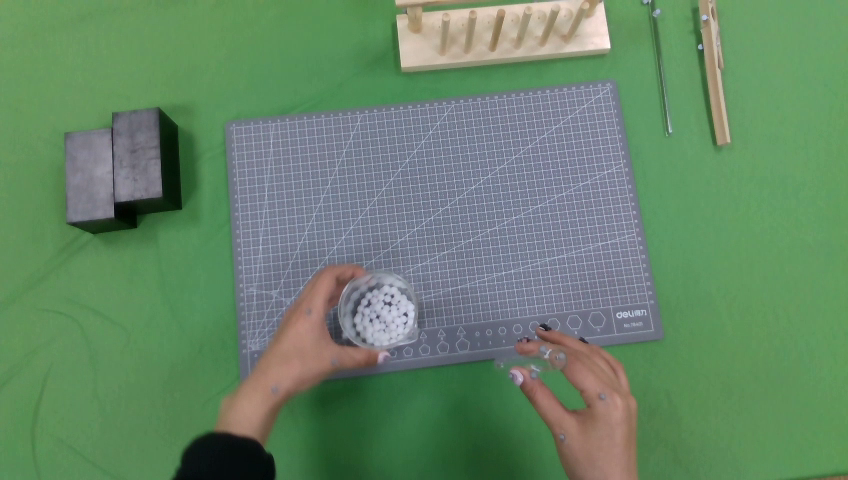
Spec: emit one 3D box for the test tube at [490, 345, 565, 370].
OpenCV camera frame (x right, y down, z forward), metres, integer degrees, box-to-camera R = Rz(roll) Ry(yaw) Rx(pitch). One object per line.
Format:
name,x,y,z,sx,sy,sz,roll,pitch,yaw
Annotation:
test tube,0.082,0.100,0.509,0.017,0.150,0.017,2,77,-10

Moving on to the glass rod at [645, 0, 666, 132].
glass rod,0.268,-0.221,0.707,0.008,0.008,0.199,-2,79,-1

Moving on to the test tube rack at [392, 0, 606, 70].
test tube rack,0.087,-0.250,0.673,0.242,0.085,0.066,-6,79,-1

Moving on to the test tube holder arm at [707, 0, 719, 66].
test tube holder arm,0.332,-0.243,0.707,0.010,0.015,0.087,6,78,-29

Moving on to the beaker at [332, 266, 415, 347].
beaker,-0.042,0.072,0.603,0.084,0.100,0.074,36,81,6

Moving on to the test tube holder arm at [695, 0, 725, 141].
test tube holder arm,0.328,-0.200,0.696,0.013,0.015,0.177,5,78,-29
